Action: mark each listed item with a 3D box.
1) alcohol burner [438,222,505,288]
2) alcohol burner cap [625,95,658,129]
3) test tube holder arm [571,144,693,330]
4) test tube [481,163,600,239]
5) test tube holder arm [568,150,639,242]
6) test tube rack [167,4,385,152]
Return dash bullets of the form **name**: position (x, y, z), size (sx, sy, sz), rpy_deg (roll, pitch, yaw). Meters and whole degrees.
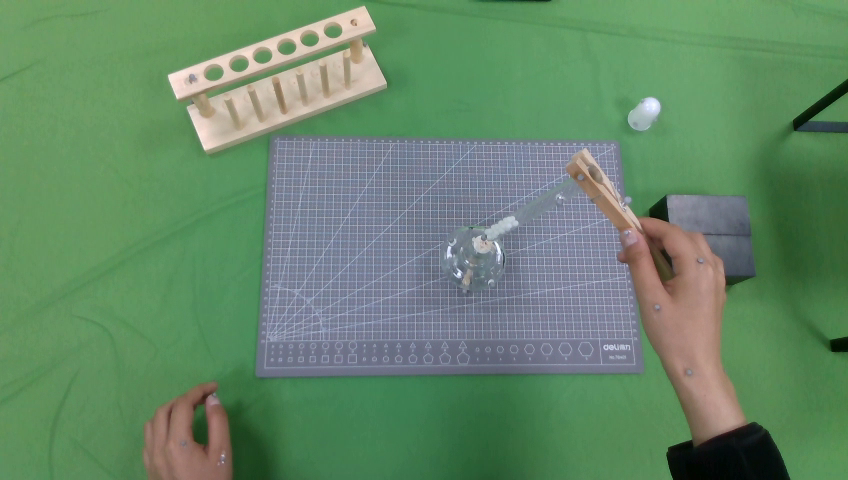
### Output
- **alcohol burner**: position (0.056, 0.013, 0.682), size (0.078, 0.119, 0.077), rpy_deg (1, 75, -5)
- **alcohol burner cap**: position (0.286, -0.168, 0.789), size (0.034, 0.048, 0.033), rpy_deg (1, 73, -2)
- **test tube holder arm**: position (0.175, -0.001, 0.507), size (0.178, 0.015, 0.013), rpy_deg (57, 35, -5)
- **test tube**: position (0.100, -0.031, 0.551), size (0.017, 0.150, 0.017), rpy_deg (14, 63, -29)
- **test tube holder arm**: position (0.147, -0.035, 0.496), size (0.088, 0.015, 0.010), rpy_deg (50, 35, -14)
- **test tube rack**: position (-0.171, -0.196, 0.739), size (0.242, 0.085, 0.066), rpy_deg (-23, 77, -10)
